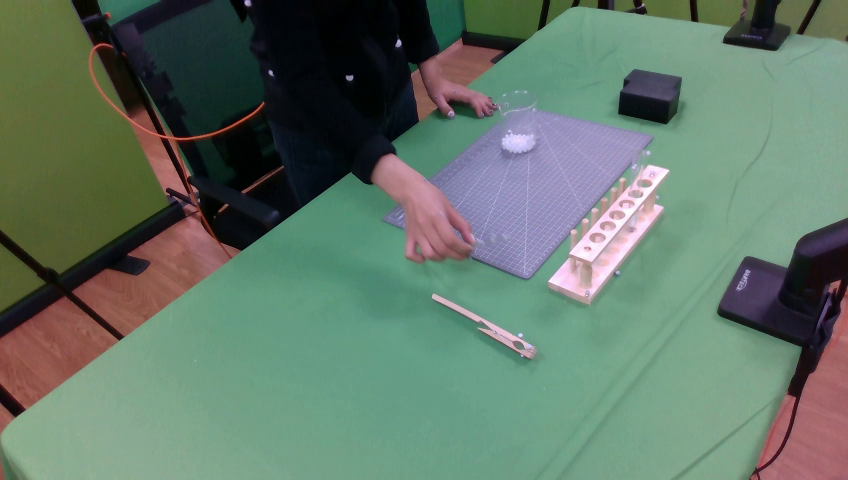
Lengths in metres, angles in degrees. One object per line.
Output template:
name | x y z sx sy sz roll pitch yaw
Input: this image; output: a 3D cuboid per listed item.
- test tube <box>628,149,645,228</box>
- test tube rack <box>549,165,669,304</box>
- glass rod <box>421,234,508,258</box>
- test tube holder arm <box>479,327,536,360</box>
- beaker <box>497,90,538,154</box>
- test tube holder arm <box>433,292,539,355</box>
test tube | 0.309 -0.071 0.882 0.017 0.151 0.017 -7 46 8
test tube rack | 0.279 -0.018 0.902 0.066 0.085 0.243 24 50 33
glass rod | 0.054 0.009 0.879 0.008 0.008 0.198 -43 16 -33
test tube holder arm | 0.110 0.134 0.805 0.087 0.015 0.010 29 84 36
beaker | 0.176 -0.220 1.143 0.073 0.101 0.084 27 52 35
test tube holder arm | 0.081 0.113 0.832 0.177 0.015 0.013 28 83 36
